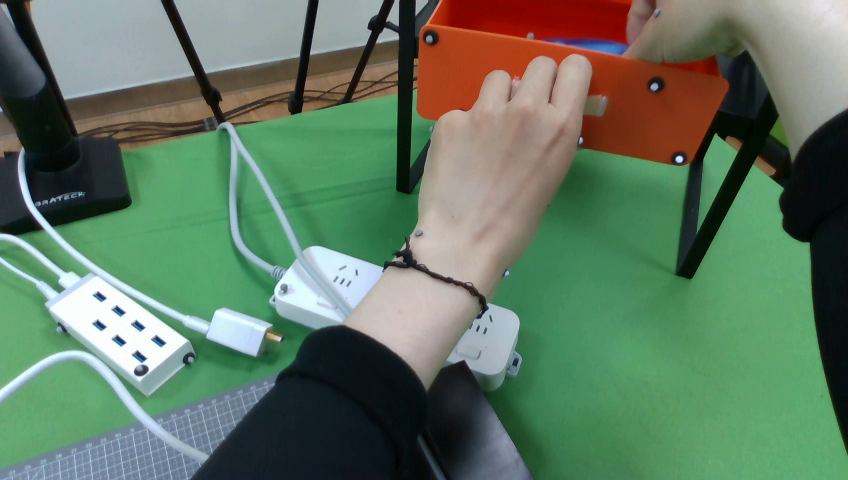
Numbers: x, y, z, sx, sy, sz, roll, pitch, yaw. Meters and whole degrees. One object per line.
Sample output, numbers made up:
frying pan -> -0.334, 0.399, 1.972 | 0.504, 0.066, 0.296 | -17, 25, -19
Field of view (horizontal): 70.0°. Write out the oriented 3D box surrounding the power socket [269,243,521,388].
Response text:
power socket -> -0.025, 0.062, 0.524 | 0.226, 0.033, 0.072 | 18, 47, 13

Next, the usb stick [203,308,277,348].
usb stick -> -0.150, 0.075, 0.504 | 0.059, 0.021, 0.027 | 14, 87, -11

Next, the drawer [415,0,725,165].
drawer -> 0.112, -0.163, 0.468 | 0.194, 0.074, 0.210 | 12, 46, 7

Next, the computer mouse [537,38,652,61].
computer mouse -> 0.117, -0.124, 0.450 | 0.116, 0.041, 0.063 | 30, 53, 29

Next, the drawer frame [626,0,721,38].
drawer frame -> 0.130, -0.226, 0.527 | 0.201, 0.083, 0.212 | 10, 46, 5

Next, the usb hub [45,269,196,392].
usb hub -> -0.252, 0.072, 0.502 | 0.124, 0.025, 0.049 | 28, 50, 21
